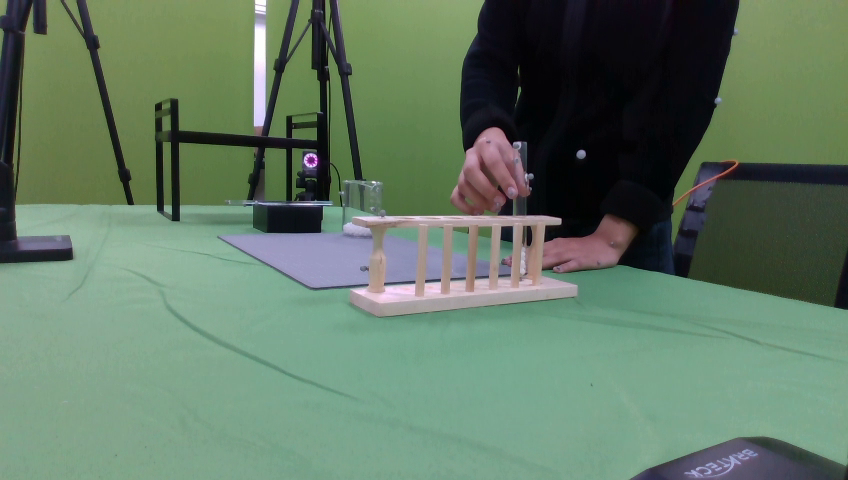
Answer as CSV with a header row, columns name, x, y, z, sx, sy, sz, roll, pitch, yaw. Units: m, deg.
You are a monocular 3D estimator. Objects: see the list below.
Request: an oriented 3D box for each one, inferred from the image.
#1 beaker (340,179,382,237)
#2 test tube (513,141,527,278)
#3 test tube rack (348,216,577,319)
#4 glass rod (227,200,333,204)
name,x,y,z,sx,sy,sz,roll,pitch,yaw
beaker,-0.113,-0.057,1.094,0.074,0.100,0.083,-2,9,-29
test tube,0.106,-0.033,0.667,0.017,0.150,0.017,-1,6,0
test tube rack,0.048,0.021,0.619,0.244,0.085,0.066,-2,9,-31
glass rod,-0.268,-0.071,1.142,0.201,0.008,0.008,-1,8,-29
